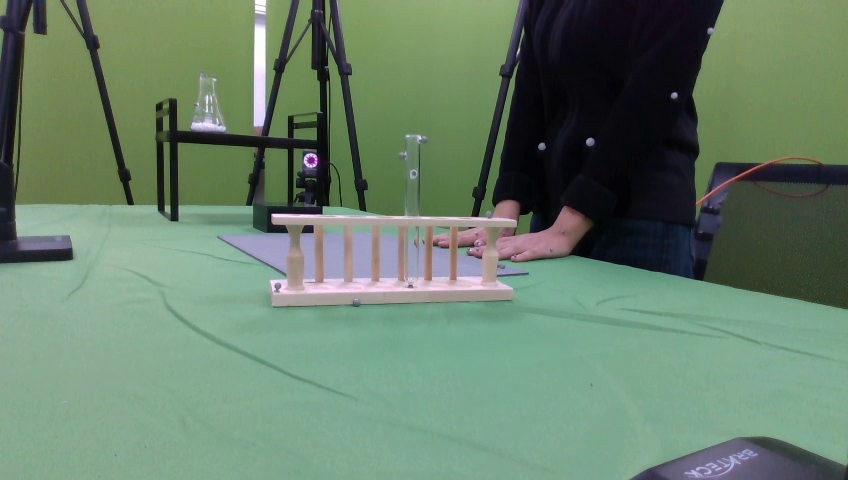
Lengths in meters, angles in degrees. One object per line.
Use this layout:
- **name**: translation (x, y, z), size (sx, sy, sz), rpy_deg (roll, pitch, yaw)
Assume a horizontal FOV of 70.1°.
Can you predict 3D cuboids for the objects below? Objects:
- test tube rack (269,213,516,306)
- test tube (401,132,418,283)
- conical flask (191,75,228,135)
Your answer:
- **test tube rack**: translation (-0.032, 0.015, 0.617), size (0.243, 0.085, 0.066), rpy_deg (0, 7, -17)
- **test tube**: translation (-0.014, -0.031, 0.596), size (0.017, 0.150, 0.017), rpy_deg (1, 11, 0)
- **conical flask**: translation (-0.457, -0.286, 1.286), size (0.075, 0.122, 0.075), rpy_deg (2, 7, 0)
